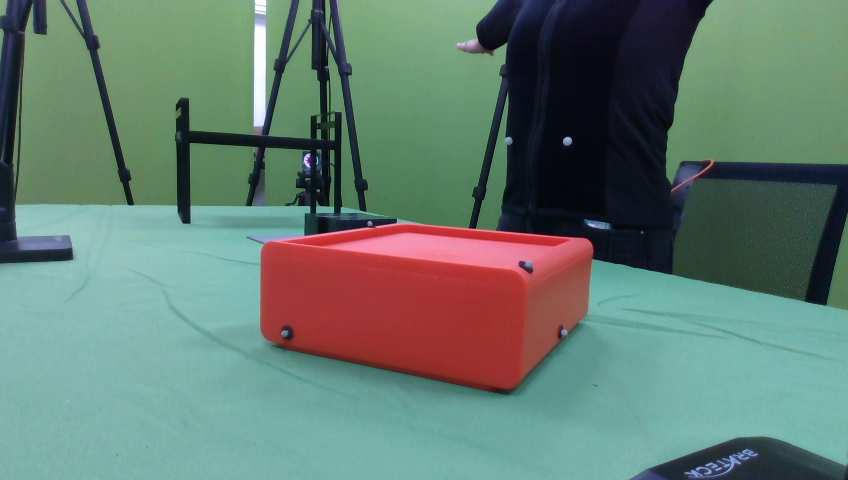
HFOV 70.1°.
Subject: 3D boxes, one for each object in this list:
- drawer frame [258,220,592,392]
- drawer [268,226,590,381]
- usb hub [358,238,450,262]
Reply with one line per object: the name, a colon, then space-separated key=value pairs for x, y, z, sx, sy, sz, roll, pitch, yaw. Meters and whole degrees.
drawer frame: x=0.015 y=0.036 z=0.491 sx=0.201 sy=0.082 sz=0.214 roll=6 pitch=9 yaw=24
drawer: x=0.016 y=0.038 z=0.492 sx=0.194 sy=0.073 sz=0.212 roll=7 pitch=9 yaw=25
usb hub: x=-0.027 y=0.013 z=0.856 sx=0.126 sy=0.025 sz=0.049 roll=-2 pitch=8 yaw=-34
